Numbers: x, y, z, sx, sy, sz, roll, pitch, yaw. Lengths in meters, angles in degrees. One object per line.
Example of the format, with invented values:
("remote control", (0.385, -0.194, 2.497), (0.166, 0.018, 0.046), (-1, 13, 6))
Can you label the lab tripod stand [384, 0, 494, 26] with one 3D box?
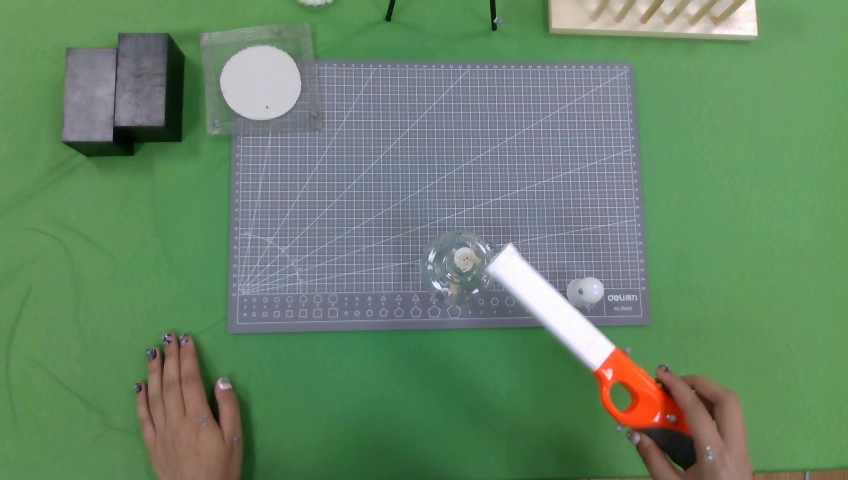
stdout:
("lab tripod stand", (0.020, -0.299, 0.632), (0.148, 0.132, 0.148), (0, 81, -2))

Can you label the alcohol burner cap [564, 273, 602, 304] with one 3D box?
("alcohol burner cap", (0.170, 0.050, 0.638), (0.034, 0.048, 0.033), (0, 81, -2))

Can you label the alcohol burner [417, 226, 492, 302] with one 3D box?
("alcohol burner", (0.033, 0.021, 0.598), (0.078, 0.119, 0.077), (1, 80, -4))

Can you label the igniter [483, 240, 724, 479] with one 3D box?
("igniter", (0.159, 0.107, 0.525), (0.276, 0.025, 0.057), (44, 79, -2))

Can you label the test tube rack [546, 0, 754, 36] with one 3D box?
("test tube rack", (0.264, -0.280, 0.670), (0.242, 0.085, 0.066), (1, 82, -3))

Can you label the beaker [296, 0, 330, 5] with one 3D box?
("beaker", (-0.122, -0.302, 0.641), (0.074, 0.100, 0.084), (-31, 86, -6))

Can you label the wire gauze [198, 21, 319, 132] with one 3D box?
("wire gauze", (-0.182, -0.179, 0.663), (0.125, 0.011, 0.121), (-6, 82, -4))
